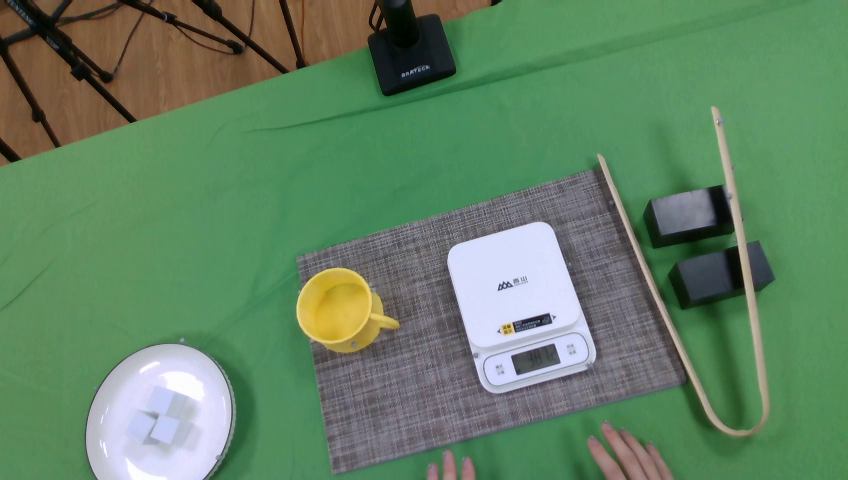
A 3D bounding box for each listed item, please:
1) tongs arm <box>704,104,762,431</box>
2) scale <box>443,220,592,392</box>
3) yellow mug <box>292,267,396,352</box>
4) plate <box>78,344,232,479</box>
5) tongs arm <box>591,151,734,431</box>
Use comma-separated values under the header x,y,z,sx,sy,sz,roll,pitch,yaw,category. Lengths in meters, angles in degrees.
x,y,z,sx,sy,sz,roll,pitch,yaw,category
0.351,0.025,0.715,0.050,0.027,0.382,-15,74,34,tongs arm
0.116,0.080,0.776,0.148,0.032,0.199,-17,70,4,scale
-0.099,0.095,0.789,0.130,0.064,0.099,12,73,12,yellow mug
-0.349,0.243,0.800,0.207,0.039,0.206,-3,70,8,plate
0.288,0.050,0.761,0.028,0.028,0.384,-28,66,26,tongs arm
